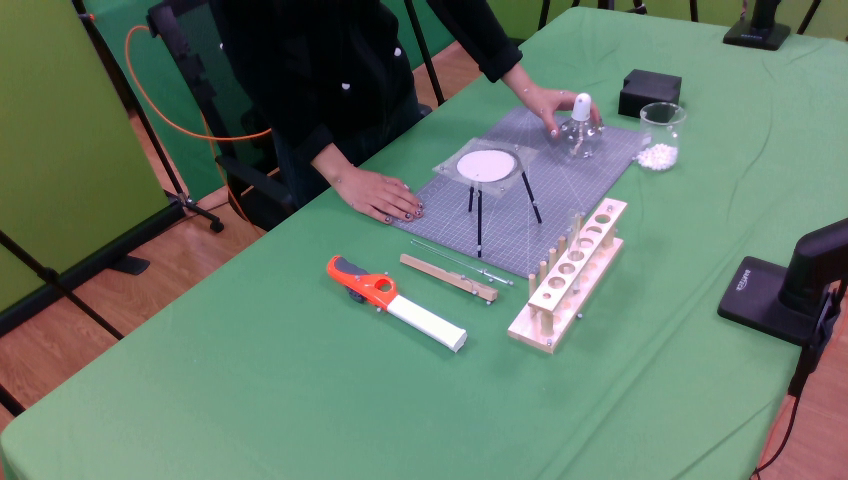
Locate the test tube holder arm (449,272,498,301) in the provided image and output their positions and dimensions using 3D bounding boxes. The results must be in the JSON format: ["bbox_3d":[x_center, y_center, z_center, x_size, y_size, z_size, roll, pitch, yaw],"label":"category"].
[{"bbox_3d":[0.070,0.069,0.894,0.087,0.015,0.010,21,10,31],"label":"test tube holder arm"}]

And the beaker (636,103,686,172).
[{"bbox_3d":[0.413,-0.177,1.055,0.084,0.101,0.073,-28,44,-21],"label":"beaker"}]

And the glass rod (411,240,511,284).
[{"bbox_3d":[0.053,0.033,0.947,0.198,0.008,0.008,22,50,36],"label":"glass rod"}]

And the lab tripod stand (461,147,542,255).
[{"bbox_3d":[0.114,-0.069,0.953,0.148,0.132,0.147,-5,38,4],"label":"lab tripod stand"}]

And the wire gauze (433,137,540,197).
[{"bbox_3d":[0.094,-0.116,0.907,0.124,0.011,0.122,21,47,30],"label":"wire gauze"}]

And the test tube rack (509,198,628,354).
[{"bbox_3d":[0.206,0.039,0.850,0.066,0.085,0.243,20,48,31],"label":"test tube rack"}]

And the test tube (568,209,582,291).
[{"bbox_3d":[0.200,0.017,0.799,0.017,0.151,0.017,-8,45,8],"label":"test tube"}]

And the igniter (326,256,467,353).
[{"bbox_3d":[-0.051,0.088,0.886,0.274,0.025,0.057,26,61,35],"label":"igniter"}]

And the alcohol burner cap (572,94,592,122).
[{"bbox_3d":[0.284,-0.238,1.079,0.034,0.048,0.033,-1,48,2],"label":"alcohol burner cap"}]

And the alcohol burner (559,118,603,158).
[{"bbox_3d":[0.287,-0.212,1.104,0.078,0.119,0.077,-4,40,4],"label":"alcohol burner"}]

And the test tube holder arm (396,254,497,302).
[{"bbox_3d":[0.030,0.054,0.911,0.177,0.015,0.013,21,10,29],"label":"test tube holder arm"}]
